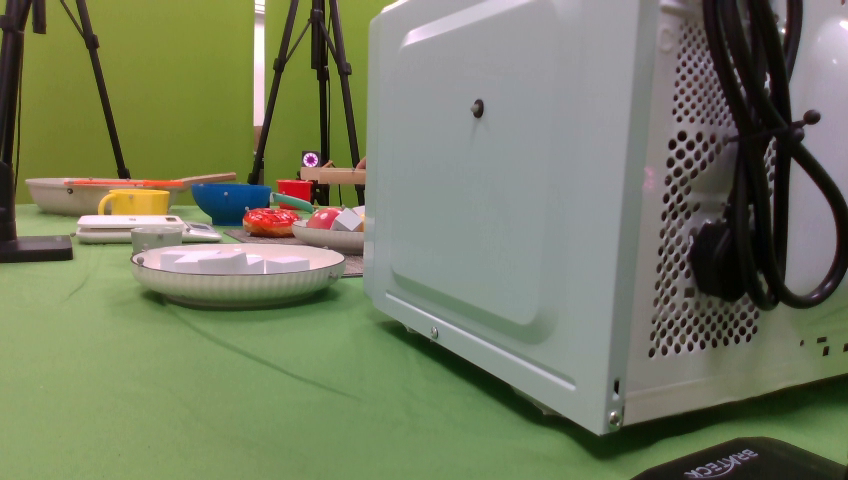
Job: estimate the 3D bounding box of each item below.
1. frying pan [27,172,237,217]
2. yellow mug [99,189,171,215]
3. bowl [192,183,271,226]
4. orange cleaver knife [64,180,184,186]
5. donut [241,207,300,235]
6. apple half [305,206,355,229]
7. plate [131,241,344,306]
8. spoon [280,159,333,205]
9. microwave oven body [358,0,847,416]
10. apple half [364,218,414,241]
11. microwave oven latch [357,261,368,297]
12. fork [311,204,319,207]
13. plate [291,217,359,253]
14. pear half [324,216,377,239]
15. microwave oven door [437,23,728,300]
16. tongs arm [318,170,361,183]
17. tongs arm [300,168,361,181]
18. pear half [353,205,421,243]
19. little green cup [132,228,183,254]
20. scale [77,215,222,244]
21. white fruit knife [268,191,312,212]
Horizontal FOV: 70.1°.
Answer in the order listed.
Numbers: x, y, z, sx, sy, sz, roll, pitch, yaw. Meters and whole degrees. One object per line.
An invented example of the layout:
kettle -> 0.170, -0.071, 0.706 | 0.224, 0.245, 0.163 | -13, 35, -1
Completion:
frying pan -> -0.624, -0.118, 1.387 | 0.305, 0.102, 0.490 | 8, 17, 32
yellow mug -> -0.519, -0.055, 1.080 | 0.099, 0.064, 0.131 | 7, 9, 26
bowl -> -0.382, -0.071, 1.202 | 0.151, 0.077, 0.151 | 3, 7, 0
orange cleaver knife -> -0.595, -0.114, 1.212 | 0.212, 0.012, 0.077 | -4, 6, -41
donut -> -0.263, -0.032, 1.039 | 0.099, 0.048, 0.099 | 4, 9, 0
apple half -> -0.138, -0.025, 0.917 | 0.081, 0.053, 0.074 | 0, 10, -43
plate -> -0.187, 0.033, 0.625 | 0.208, 0.039, 0.207 | 2, 7, 0
spoon -> -0.317, -0.159, 1.640 | 0.194, 0.022, 0.041 | -49, 32, -20
microwave oven body -> 0.211, -0.047, 0.475 | 0.444, 0.260, 0.324 | -1, 7, -28
apple half -> -0.054, -0.019, 0.967 | 0.081, 0.033, 0.081 | -3, 9, 1
microwave oven latch -> -0.019, 0.033, 0.531 | 0.079, 0.029, 0.030 | -1, 7, -27
fork -> -0.356, -0.105, 1.526 | 0.208, 0.018, 0.028 | 16, -5, -41
plate -> -0.103, -0.009, 0.945 | 0.209, 0.038, 0.209 | 2, 7, 0
pear half -> -0.119, -0.023, 0.996 | 0.088, 0.031, 0.070 | -4, 23, -27
microwave oven door -> 0.180, -0.072, 0.621 | 0.358, 0.243, 0.039 | -2, 8, -29
tongs arm -> -0.057, -0.131, 1.247 | 0.387, 0.026, 0.050 | -4, 9, -39
tongs arm -> -0.082, -0.136, 1.275 | 0.390, 0.028, 0.028 | -4, 5, -38
pear half -> -0.051, -0.023, 0.905 | 0.110, 0.056, 0.076 | 2, -2, -38
little green cup -> -0.342, 0.006, 0.779 | 0.061, 0.038, 0.061 | 2, 8, 0
scale -> -0.434, -0.019, 0.963 | 0.202, 0.031, 0.148 | -1, 9, -27
white fruit knife -> -0.364, -0.105, 1.464 | 0.208, 0.027, 0.016 | 15, -1, -34
